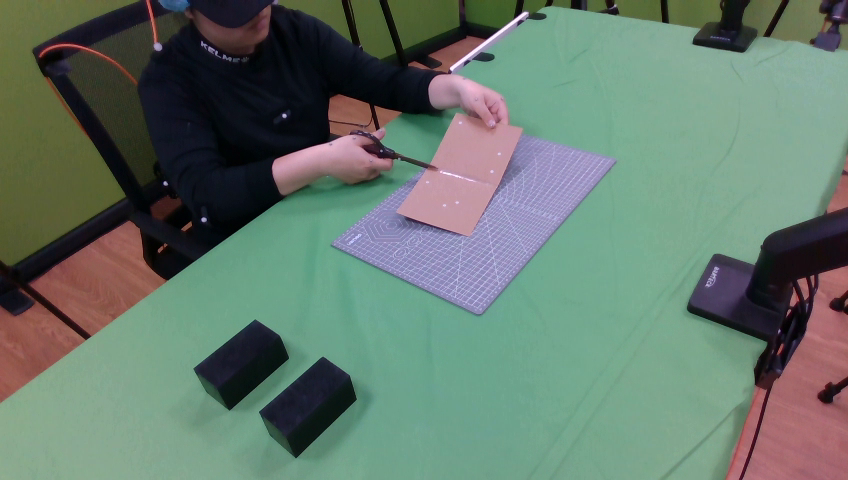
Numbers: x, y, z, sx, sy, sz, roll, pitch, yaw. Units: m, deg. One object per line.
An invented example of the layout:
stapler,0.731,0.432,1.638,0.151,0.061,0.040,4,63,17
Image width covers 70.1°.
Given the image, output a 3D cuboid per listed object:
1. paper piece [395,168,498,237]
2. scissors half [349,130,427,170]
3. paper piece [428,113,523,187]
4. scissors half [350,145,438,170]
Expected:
paper piece,0.041,-0.069,1.034,0.135,0.004,0.135,19,49,16
scissors half,-0.055,-0.158,1.096,0.175,0.040,0.013,25,64,-4
paper piece,0.095,-0.167,1.103,0.135,0.009,0.138,21,64,13
scissors half,-0.056,-0.147,1.115,0.174,0.040,0.013,12,57,19
